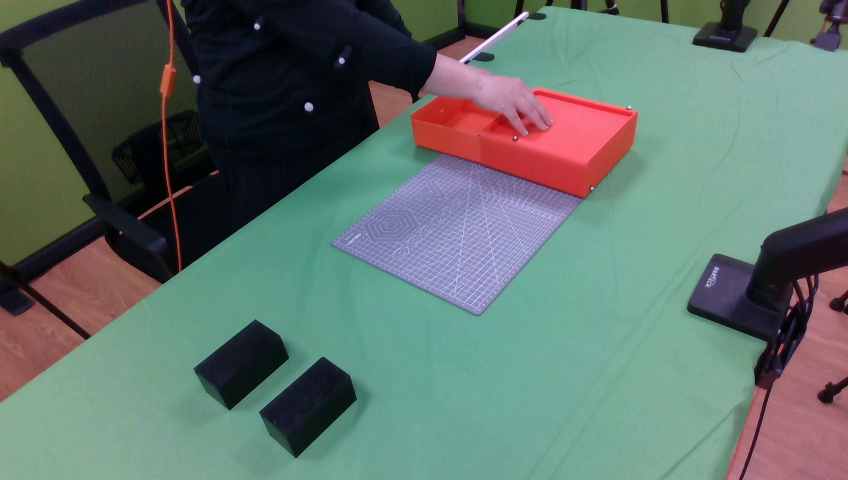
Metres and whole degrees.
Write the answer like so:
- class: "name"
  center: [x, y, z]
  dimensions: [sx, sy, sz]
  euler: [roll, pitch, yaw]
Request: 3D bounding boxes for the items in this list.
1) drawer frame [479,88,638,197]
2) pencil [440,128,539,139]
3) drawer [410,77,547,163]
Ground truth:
- class: "drawer frame"
  center: [0.243, -0.184, 1.101]
  dimensions: [0.212, 0.083, 0.202]
  euler: [23, 48, 30]
- class: "pencil"
  center: [0.128, -0.209, 1.191]
  dimensions: [0.194, 0.012, 0.012]
  euler: [-2, 40, 8]
- class: "drawer"
  center: [0.114, -0.236, 1.186]
  dimensions: [0.210, 0.073, 0.195]
  euler: [21, 46, 32]
